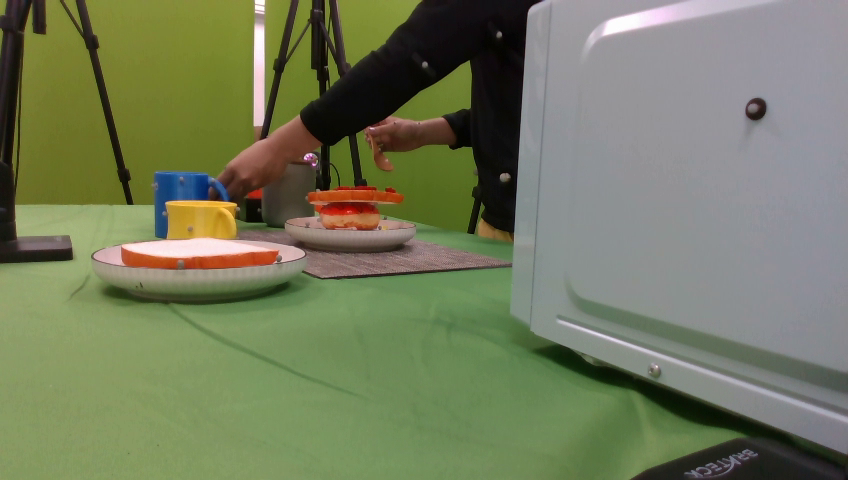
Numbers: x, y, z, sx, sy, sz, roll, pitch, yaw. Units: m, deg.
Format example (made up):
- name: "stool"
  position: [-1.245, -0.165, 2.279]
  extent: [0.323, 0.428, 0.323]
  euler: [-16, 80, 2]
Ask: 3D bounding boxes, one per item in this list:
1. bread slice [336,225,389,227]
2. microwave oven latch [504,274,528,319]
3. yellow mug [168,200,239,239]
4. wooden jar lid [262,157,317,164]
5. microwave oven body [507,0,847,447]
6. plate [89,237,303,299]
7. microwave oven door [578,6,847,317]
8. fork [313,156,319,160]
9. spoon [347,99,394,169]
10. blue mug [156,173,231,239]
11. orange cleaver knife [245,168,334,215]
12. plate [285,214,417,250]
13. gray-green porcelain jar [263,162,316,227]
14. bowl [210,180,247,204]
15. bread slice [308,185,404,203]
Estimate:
- name: "bread slice"
  position: [-0.103, -0.010, 0.962]
  extent: [0.131, 0.019, 0.105]
  euler: [3, 9, 24]
- name: "microwave oven latch"
  position: [0.100, 0.041, 0.470]
  extent: [0.079, 0.029, 0.030]
  euler: [-1, 7, -27]
- name: "yellow mug"
  position: [-0.320, -0.023, 0.904]
  extent: [0.130, 0.064, 0.100]
  euler: [9, 10, 36]
- name: "wooden jar lid"
  position: [-0.269, -0.154, 1.208]
  extent: [0.108, 0.020, 0.108]
  euler: [3, 4, 0]
- name: "microwave oven body"
  position: [0.331, -0.042, 0.425]
  extent: [0.444, 0.260, 0.324]
  euler: [-2, 8, -31]
- name: "plate"
  position: [-0.233, 0.029, 0.637]
  extent: [0.208, 0.039, 0.207]
  euler: [2, 7, 0]
- name: "microwave oven door"
  position: [0.294, -0.067, 0.570]
  extent: [0.358, 0.243, 0.039]
  euler: [-3, 9, -31]
- name: "fork"
  position: [-0.331, -0.144, 1.506]
  extent: [0.207, 0.018, 0.028]
  euler: [-42, -18, 22]
- name: "spoon"
  position: [-0.116, -0.227, 1.288]
  extent: [0.042, 0.193, 0.021]
  euler: [-14, -20, -40]
- name: "blue mug"
  position: [-0.381, -0.057, 1.004]
  extent: [0.117, 0.106, 0.082]
  euler: [0, 8, -12]
- name: "orange cleaver knife"
  position: [-0.300, -0.089, 1.351]
  extent: [0.212, 0.077, 0.012]
  euler: [28, -8, -33]
- name: "plate"
  position: [-0.116, -0.014, 0.964]
  extent: [0.209, 0.038, 0.209]
  euler: [2, 8, 0]
- name: "gray-green porcelain jar"
  position: [-0.271, -0.092, 1.217]
  extent: [0.106, 0.126, 0.106]
  euler: [2, 7, 0]
- name: "bowl"
  position: [-0.417, -0.075, 1.159]
  extent: [0.151, 0.077, 0.151]
  euler: [1, 7, 0]
- name: "bread slice"
  position: [-0.113, -0.071, 0.954]
  extent: [0.134, 0.018, 0.107]
  euler: [-2, -1, 21]
